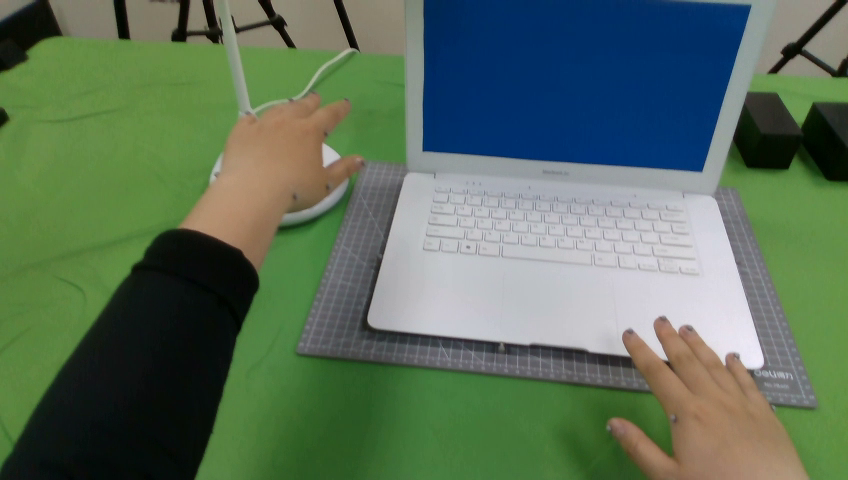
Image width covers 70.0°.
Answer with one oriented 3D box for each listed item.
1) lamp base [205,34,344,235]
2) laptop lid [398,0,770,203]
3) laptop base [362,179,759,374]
[{"bbox_3d":[-0.185,-0.124,0.671,0.160,0.182,0.177,-32,48,-31],"label":"lamp base"},{"bbox_3d":[0.148,-0.149,0.641,0.356,0.244,0.013,3,35,6],"label":"laptop lid"},{"bbox_3d":[0.131,0.028,0.622,0.354,0.023,0.233,5,46,5],"label":"laptop base"}]
